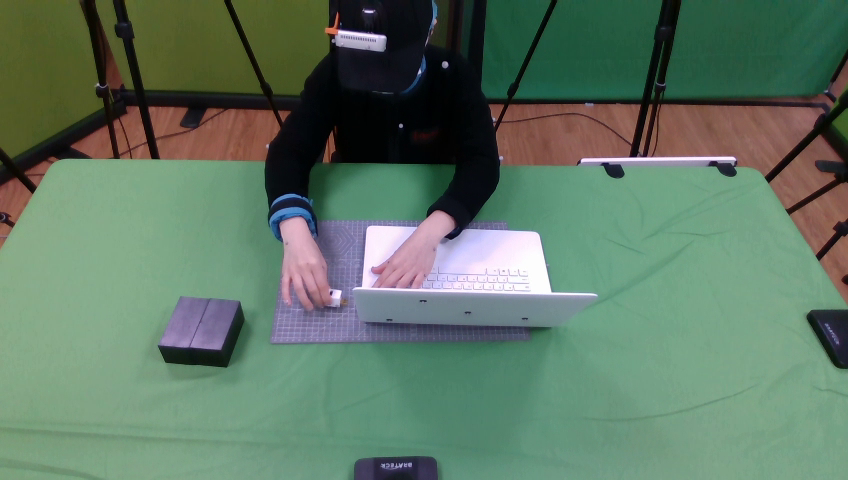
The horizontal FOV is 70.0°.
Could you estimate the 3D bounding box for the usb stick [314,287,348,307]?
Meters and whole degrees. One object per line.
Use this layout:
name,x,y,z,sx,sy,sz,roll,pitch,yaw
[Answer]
usb stick,-0.162,0.102,1.067,0.059,0.027,0.021,10,43,-1

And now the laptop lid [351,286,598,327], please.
laptop lid,0.068,0.109,0.952,0.357,0.242,0.013,2,71,-4

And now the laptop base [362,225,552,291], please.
laptop base,0.061,0.063,1.145,0.354,0.023,0.234,2,43,-3
